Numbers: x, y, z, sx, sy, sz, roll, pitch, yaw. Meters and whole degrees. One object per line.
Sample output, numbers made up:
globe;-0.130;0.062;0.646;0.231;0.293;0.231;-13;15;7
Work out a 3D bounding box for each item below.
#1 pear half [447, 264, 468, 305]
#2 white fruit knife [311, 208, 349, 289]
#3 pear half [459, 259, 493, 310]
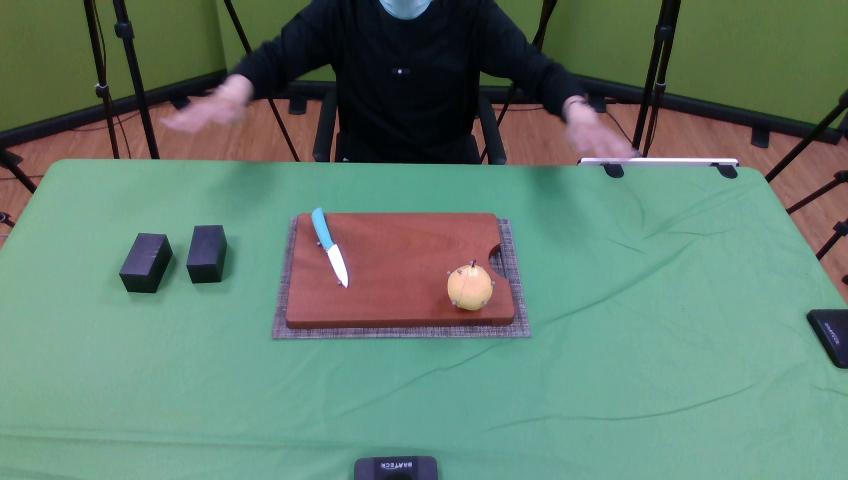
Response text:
pear half;0.056;0.073;1.041;0.031;0.088;0.070;6;53;2
white fruit knife;-0.176;0.013;1.133;0.027;0.016;0.206;-23;52;-7
pear half;0.092;0.072;1.031;0.056;0.110;0.076;7;50;3
